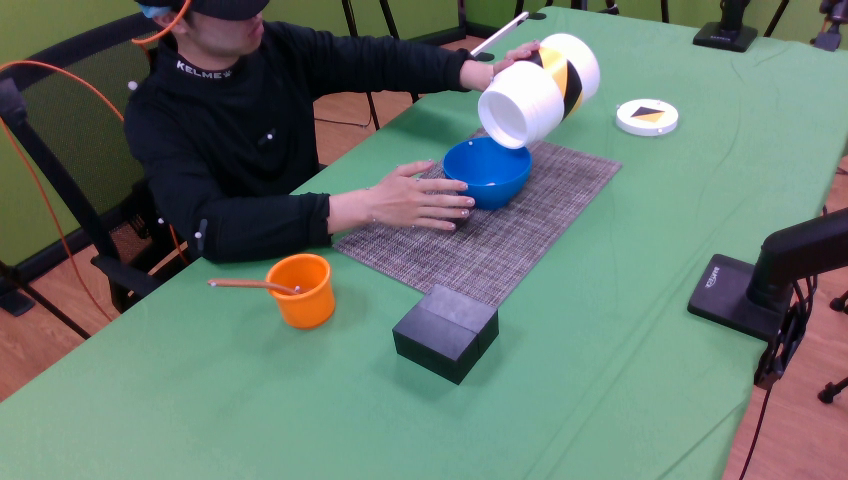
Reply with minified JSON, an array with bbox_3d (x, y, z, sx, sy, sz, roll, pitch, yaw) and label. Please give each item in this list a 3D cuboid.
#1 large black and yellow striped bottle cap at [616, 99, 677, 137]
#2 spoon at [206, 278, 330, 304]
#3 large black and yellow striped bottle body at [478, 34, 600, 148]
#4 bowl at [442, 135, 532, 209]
[{"bbox_3d":[0.438,-0.241,1.190,0.115,0.019,0.114,-4,42,4],"label":"large black and yellow striped bottle cap"},{"bbox_3d":[-0.207,0.066,0.824,0.041,0.195,0.021,33,100,41],"label":"spoon"},{"bbox_3d":[0.190,-0.248,1.014,0.184,0.131,0.129,-40,50,-24],"label":"large black and yellow striped bottle body"},{"bbox_3d":[0.108,-0.105,1.026,0.151,0.077,0.150,-4,41,4],"label":"bowl"}]
